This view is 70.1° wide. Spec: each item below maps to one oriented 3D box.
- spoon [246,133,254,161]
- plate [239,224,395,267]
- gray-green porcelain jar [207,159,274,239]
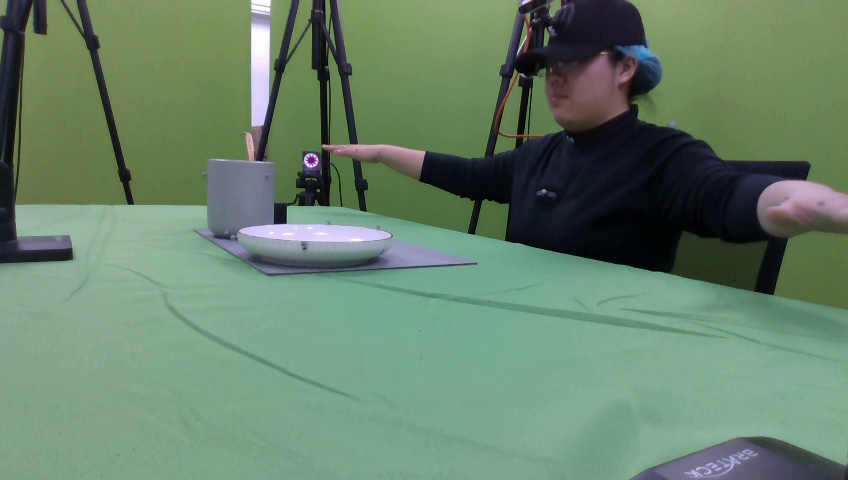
[{"bbox_3d":[-0.344,-0.153,1.209,0.042,0.021,0.193,3,51,-22],"label":"spoon"},{"bbox_3d":[-0.144,0.007,0.823,0.208,0.039,0.207,3,7,0],"label":"plate"},{"bbox_3d":[-0.304,-0.068,1.004,0.106,0.126,0.106,3,7,0],"label":"gray-green porcelain jar"}]
